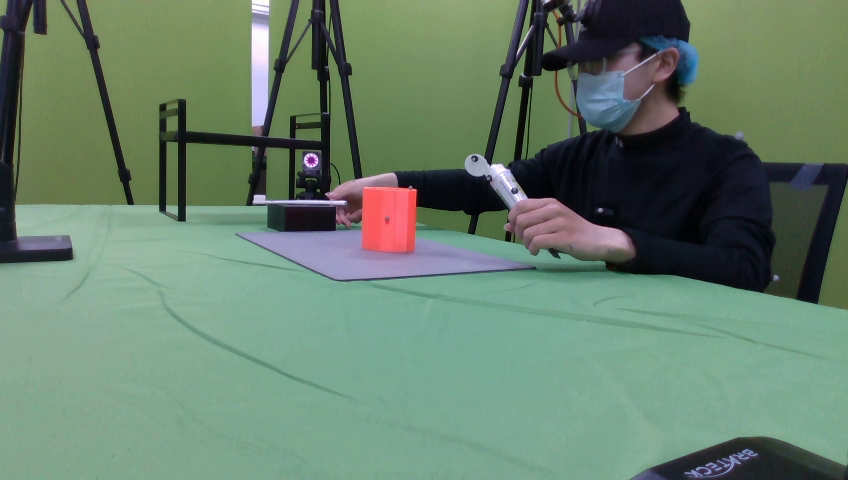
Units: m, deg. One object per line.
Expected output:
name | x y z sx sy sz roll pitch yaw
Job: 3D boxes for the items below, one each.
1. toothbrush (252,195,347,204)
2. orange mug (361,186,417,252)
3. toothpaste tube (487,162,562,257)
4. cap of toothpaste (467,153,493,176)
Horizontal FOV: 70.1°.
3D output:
toothbrush | -0.234 -0.076 1.154 0.183 0.016 0.014 -1 4 -27
orange mug | -0.054 -0.038 0.962 0.083 0.101 0.126 2 12 0
toothpaste tube | 0.141 -0.045 0.848 0.034 0.164 0.055 -40 -18 24
cap of toothpaste | 0.080 -0.109 0.858 0.037 0.037 0.011 6 40 24
